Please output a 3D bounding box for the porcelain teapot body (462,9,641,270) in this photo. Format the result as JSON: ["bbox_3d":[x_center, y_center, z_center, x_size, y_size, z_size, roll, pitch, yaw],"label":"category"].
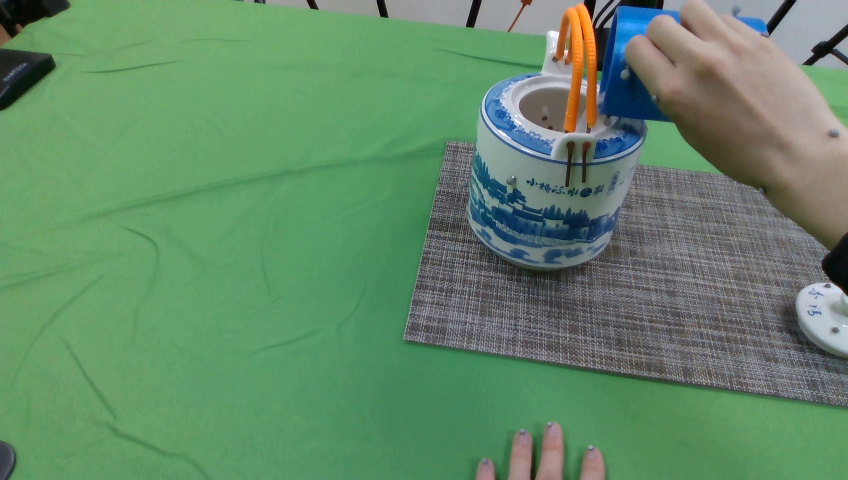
[{"bbox_3d":[0.115,-0.110,0.562,0.145,0.227,0.203,3,44,-1],"label":"porcelain teapot body"}]

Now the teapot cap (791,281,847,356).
[{"bbox_3d":[0.370,0.064,0.534,0.085,0.044,0.084,4,43,-3],"label":"teapot cap"}]

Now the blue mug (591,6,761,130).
[{"bbox_3d":[0.187,-0.129,0.454,0.105,0.082,0.116,9,15,9],"label":"blue mug"}]
